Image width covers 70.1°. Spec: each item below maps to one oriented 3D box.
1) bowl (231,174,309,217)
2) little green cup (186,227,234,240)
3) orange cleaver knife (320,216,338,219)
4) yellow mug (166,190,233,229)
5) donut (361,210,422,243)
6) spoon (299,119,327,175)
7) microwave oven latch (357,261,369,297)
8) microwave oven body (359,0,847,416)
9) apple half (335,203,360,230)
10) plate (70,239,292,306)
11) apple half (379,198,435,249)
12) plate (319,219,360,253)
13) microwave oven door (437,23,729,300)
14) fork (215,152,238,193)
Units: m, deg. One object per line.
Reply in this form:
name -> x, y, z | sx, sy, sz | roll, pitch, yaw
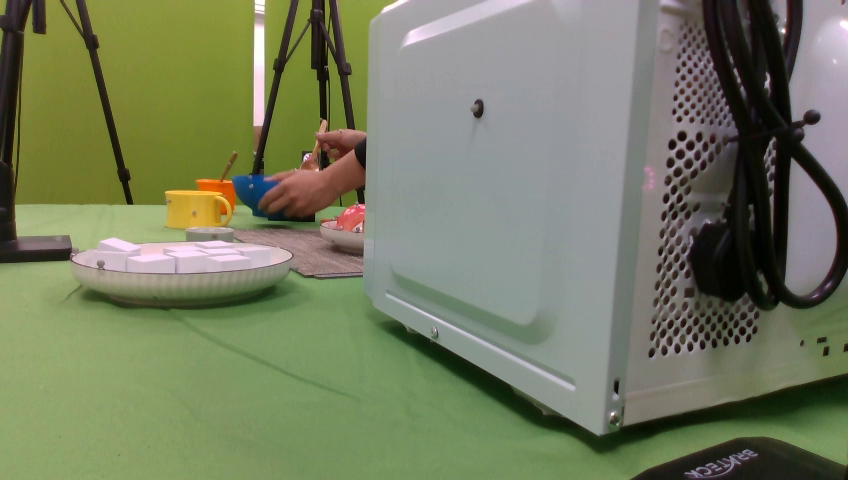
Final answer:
bowl -> -0.305, -0.088, 1.208 | 0.151, 0.077, 0.151 | 2, 10, 0
little green cup -> -0.284, 0.005, 0.805 | 0.061, 0.038, 0.061 | 2, 8, 0
orange cleaver knife -> -0.142, -0.057, 1.395 | 0.077, 0.012, 0.212 | 3, 7, 44
yellow mug -> -0.415, -0.057, 1.132 | 0.130, 0.064, 0.100 | 6, 8, 16
donut -> -0.051, -0.020, 0.959 | 0.099, 0.048, 0.099 | 7, 8, -1
spoon -> -0.240, -0.210, 1.350 | 0.042, 0.193, 0.021 | 16, -38, -9
microwave oven latch -> -0.019, 0.033, 0.530 | 0.079, 0.029, 0.030 | -1, 7, -26
microwave oven body -> 0.211, -0.047, 0.474 | 0.444, 0.260, 0.324 | -1, 7, -28
apple half -> -0.116, -0.038, 0.960 | 0.081, 0.033, 0.081 | -37, 8, 7
plate -> -0.242, 0.031, 0.618 | 0.208, 0.039, 0.207 | 3, 8, 0
apple half -> -0.020, -0.030, 0.891 | 0.081, 0.053, 0.074 | -2, 49, -26
plate -> -0.059, -0.007, 0.939 | 0.209, 0.038, 0.209 | 3, 8, 0
microwave oven door -> 0.181, -0.072, 0.621 | 0.358, 0.243, 0.039 | -2, 9, -29
fork -> -0.455, -0.132, 1.366 | 0.028, 0.018, 0.207 | -3, -35, -38
